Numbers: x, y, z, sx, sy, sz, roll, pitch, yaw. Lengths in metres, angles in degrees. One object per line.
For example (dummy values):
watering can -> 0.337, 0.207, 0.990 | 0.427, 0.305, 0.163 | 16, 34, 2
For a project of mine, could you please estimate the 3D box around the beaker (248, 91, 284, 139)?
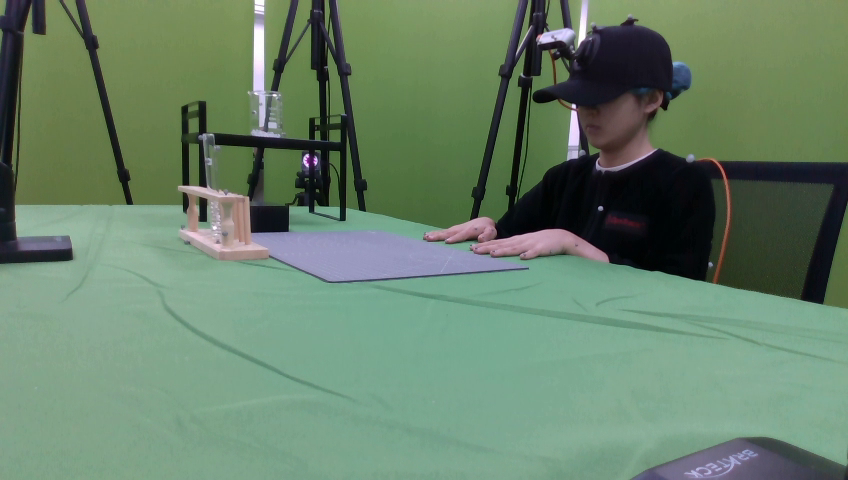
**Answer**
beaker -> -0.353, -0.277, 1.343 | 0.073, 0.100, 0.084 | 8, 9, 39

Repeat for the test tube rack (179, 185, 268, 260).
test tube rack -> -0.303, -0.031, 0.898 | 0.067, 0.085, 0.241 | -2, 9, -33

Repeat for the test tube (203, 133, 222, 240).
test tube -> -0.296, -0.075, 0.849 | 0.017, 0.150, 0.017 | -2, 6, 1
